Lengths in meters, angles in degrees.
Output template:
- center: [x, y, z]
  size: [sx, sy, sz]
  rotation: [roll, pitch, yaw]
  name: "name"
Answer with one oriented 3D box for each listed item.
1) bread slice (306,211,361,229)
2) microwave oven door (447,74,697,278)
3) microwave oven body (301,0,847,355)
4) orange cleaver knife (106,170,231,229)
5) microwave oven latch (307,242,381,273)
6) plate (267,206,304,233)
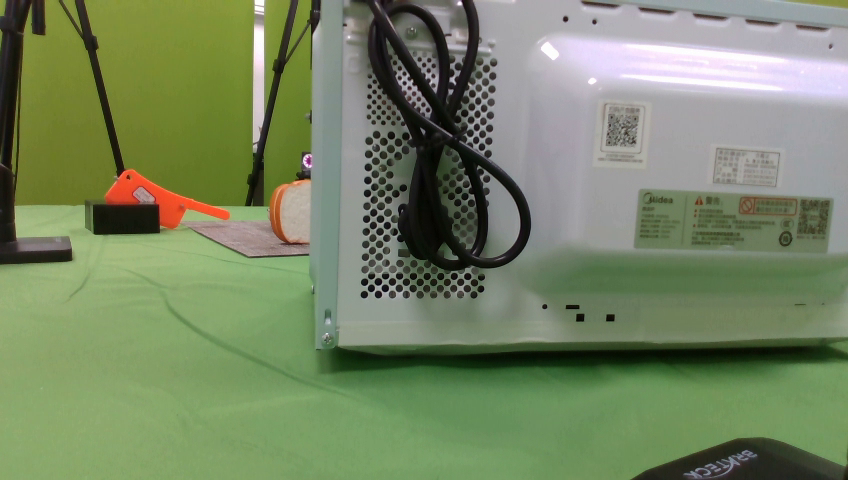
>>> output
- center: [-0.173, -0.040, 1.173]
  size: [0.107, 0.018, 0.134]
  rotation: [-1, 10, -8]
  name: "bread slice"
- center: [0.180, -0.094, 0.832]
  size: [0.354, 0.243, 0.039]
  rotation: [9, 10, 42]
  name: "microwave oven door"
- center: [0.120, -0.053, 0.535]
  size: [0.443, 0.260, 0.325]
  rotation: [2, 7, -11]
  name: "microwave oven body"
- center: [-0.458, -0.060, 1.097]
  size: [0.212, 0.077, 0.012]
  rotation: [23, -4, -38]
  name: "orange cleaver knife"
- center: [-0.086, 0.019, 0.656]
  size: [0.079, 0.029, 0.030]
  rotation: [2, 7, -10]
  name: "microwave oven latch"
- center: [-0.197, -0.039, 1.175]
  size: [0.208, 0.039, 0.207]
  rotation: [2, 7, 0]
  name: "plate"
